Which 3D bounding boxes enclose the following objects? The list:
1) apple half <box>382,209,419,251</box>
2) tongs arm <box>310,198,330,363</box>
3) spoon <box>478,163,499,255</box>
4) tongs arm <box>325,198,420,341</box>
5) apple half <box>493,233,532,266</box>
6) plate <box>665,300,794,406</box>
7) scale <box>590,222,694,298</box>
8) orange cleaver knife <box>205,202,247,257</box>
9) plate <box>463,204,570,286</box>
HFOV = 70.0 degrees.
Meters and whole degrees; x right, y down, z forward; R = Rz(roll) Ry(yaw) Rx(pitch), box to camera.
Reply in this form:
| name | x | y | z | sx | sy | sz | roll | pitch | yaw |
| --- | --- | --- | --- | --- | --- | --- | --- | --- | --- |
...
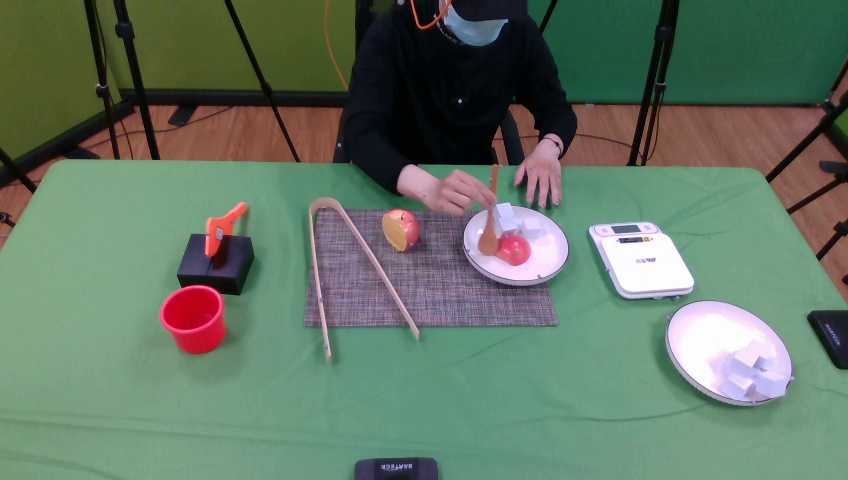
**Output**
| name | x | y | z | sx | sy | sz | roll | pitch | yaw |
| --- | --- | --- | --- | --- | --- | --- | --- | --- | --- |
| apple half | -0.039 | -0.022 | 1.175 | 0.053 | 0.075 | 0.080 | -27 | 50 | -31 |
| tongs arm | -0.180 | 0.058 | 1.117 | 0.051 | 0.026 | 0.382 | -9 | 47 | -11 |
| spoon | 0.124 | -0.054 | 1.124 | 0.041 | 0.194 | 0.021 | 6 | 28 | 10 |
| tongs arm | -0.101 | 0.043 | 1.140 | 0.028 | 0.028 | 0.385 | -22 | 51 | -18 |
| apple half | 0.173 | 0.009 | 1.176 | 0.081 | 0.033 | 0.081 | 1 | 48 | -1 |
| plate | 0.513 | 0.194 | 1.034 | 0.208 | 0.039 | 0.206 | 2 | 46 | -2 |
| scale | 0.424 | 0.031 | 1.189 | 0.149 | 0.032 | 0.199 | -3 | 46 | -7 |
| orange cleaver knife | -0.374 | -0.024 | 1.151 | 0.012 | 0.077 | 0.210 | 4 | 16 | 1 |
| plate | 0.177 | 0.013 | 1.180 | 0.209 | 0.038 | 0.208 | 2 | 46 | -2 |
